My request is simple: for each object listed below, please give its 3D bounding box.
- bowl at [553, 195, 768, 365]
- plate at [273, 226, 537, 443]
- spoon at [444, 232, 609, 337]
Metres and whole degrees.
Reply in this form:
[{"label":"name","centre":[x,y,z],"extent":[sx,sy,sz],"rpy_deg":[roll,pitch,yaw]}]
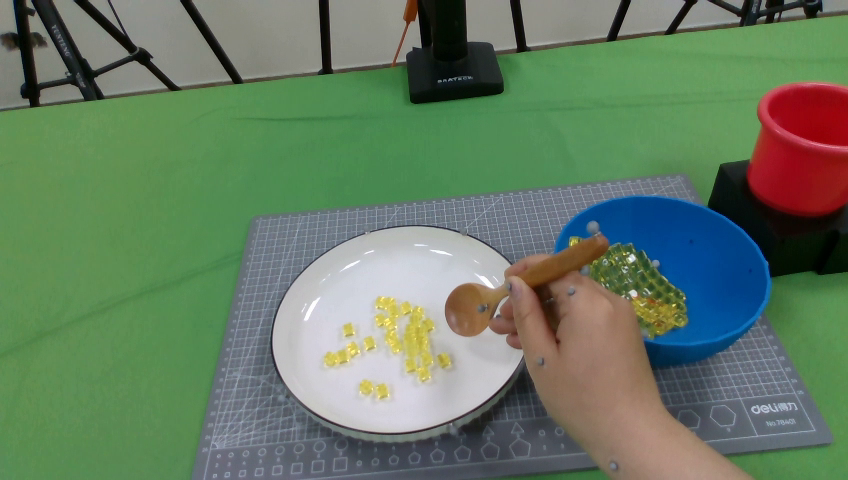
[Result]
[{"label":"bowl","centre":[0.172,0.043,0.468],"extent":[0.151,0.077,0.150],"rpy_deg":[-3,45,4]},{"label":"plate","centre":[-0.015,0.071,0.490],"extent":[0.207,0.039,0.205],"rpy_deg":[-3,44,4]},{"label":"spoon","centre":[0.057,0.032,0.395],"extent":[0.022,0.194,0.041],"rpy_deg":[-9,76,-22]}]
